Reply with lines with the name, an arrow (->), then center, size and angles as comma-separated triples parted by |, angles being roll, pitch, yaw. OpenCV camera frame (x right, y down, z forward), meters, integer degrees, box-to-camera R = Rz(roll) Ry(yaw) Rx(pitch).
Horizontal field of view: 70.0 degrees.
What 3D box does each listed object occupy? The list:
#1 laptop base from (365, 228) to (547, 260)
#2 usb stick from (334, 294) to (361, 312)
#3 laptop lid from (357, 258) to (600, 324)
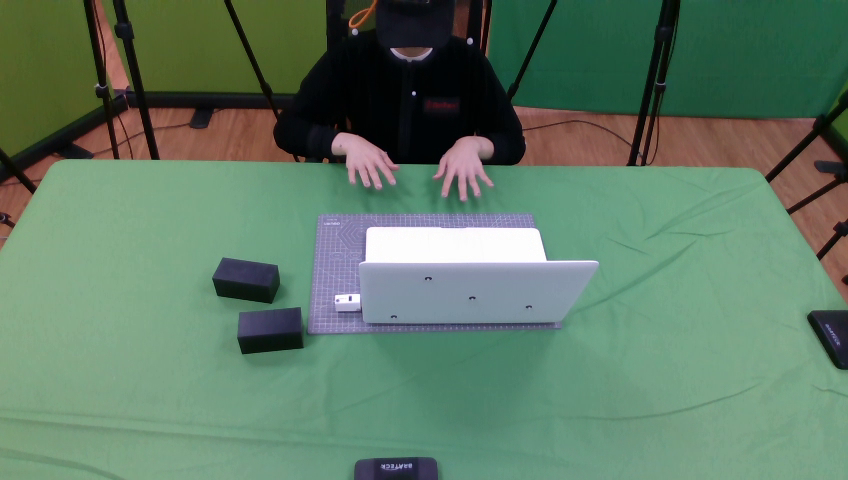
laptop base -> 0.064, 0.062, 1.144 | 0.355, 0.023, 0.234 | 0, 42, -4
usb stick -> -0.128, 0.111, 1.066 | 0.059, 0.027, 0.021 | 1, 45, -6
laptop lid -> 0.075, 0.087, 0.959 | 0.357, 0.242, 0.013 | 1, 60, -5
